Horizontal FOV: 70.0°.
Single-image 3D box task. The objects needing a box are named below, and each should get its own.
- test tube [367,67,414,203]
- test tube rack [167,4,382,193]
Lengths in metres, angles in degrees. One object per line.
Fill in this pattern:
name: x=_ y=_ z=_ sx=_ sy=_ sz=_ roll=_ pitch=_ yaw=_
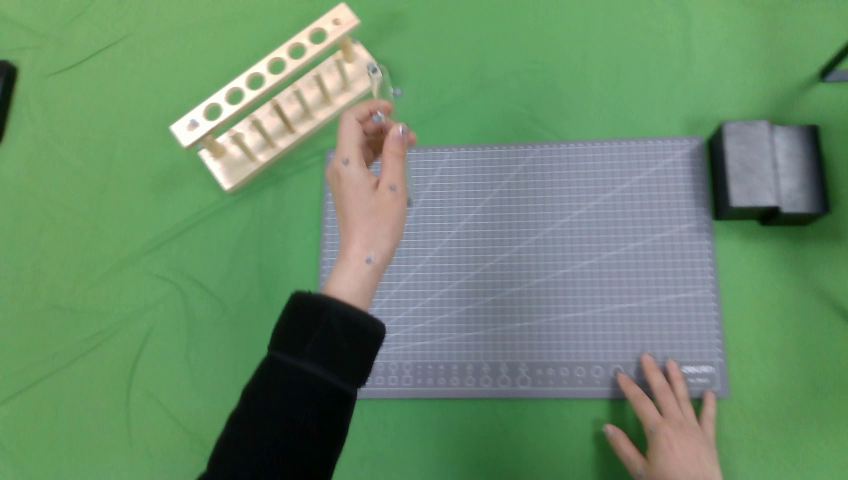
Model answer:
test tube: x=-0.026 y=-0.079 z=0.501 sx=0.017 sy=0.151 sz=0.017 roll=-4 pitch=55 yaw=6
test tube rack: x=-0.172 y=-0.166 z=0.724 sx=0.242 sy=0.085 sz=0.066 roll=-38 pitch=75 yaw=-5
